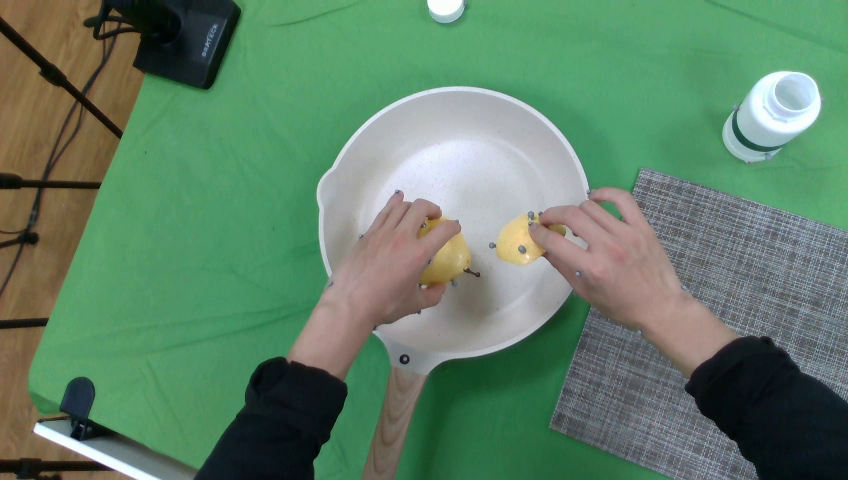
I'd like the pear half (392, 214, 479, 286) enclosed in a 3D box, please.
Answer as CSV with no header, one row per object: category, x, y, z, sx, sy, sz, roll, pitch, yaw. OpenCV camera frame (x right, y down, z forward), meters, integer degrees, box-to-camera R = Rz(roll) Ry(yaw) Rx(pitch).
pear half,0.010,0.015,0.624,0.109,0.056,0.076,24,111,44

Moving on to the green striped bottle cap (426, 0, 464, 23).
green striped bottle cap,0.025,-0.286,0.731,0.044,0.020,0.044,-2,81,11

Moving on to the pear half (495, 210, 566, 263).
pear half,0.097,-0.009,0.576,0.070,0.087,0.031,-23,103,21

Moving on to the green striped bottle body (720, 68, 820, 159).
green striped bottle body,0.343,-0.126,0.600,0.063,0.120,0.063,-2,81,10

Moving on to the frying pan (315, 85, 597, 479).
frying pan,0.001,0.076,0.641,0.306,0.103,0.486,15,77,13
